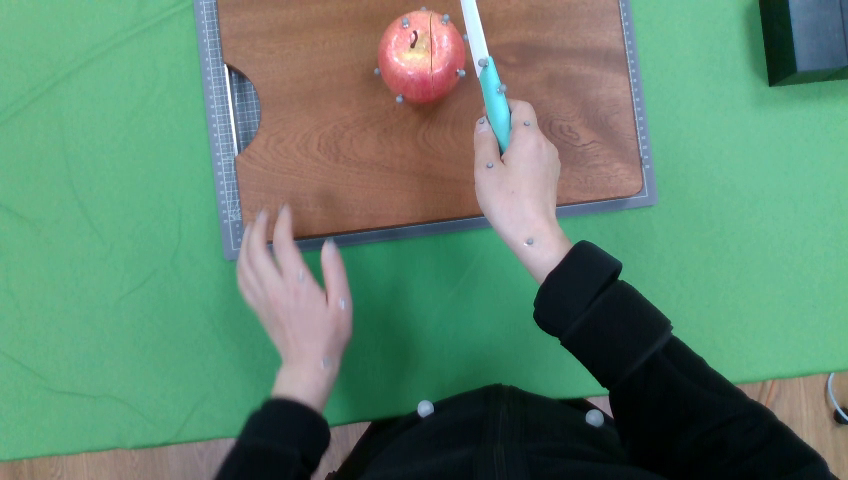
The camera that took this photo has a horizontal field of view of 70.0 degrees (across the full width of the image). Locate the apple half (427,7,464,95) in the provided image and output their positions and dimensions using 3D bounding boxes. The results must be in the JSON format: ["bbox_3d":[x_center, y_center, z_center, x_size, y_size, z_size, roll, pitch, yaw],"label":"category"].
[{"bbox_3d":[0.021,-0.175,0.567,0.033,0.081,0.081,-2,88,3],"label":"apple half"}]

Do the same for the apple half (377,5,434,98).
[{"bbox_3d":[-0.017,-0.174,0.569,0.053,0.074,0.081,-3,92,5],"label":"apple half"}]

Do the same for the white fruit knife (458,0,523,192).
[{"bbox_3d":[0.048,-0.142,0.497,0.016,0.027,0.207,-16,93,-29],"label":"white fruit knife"}]
